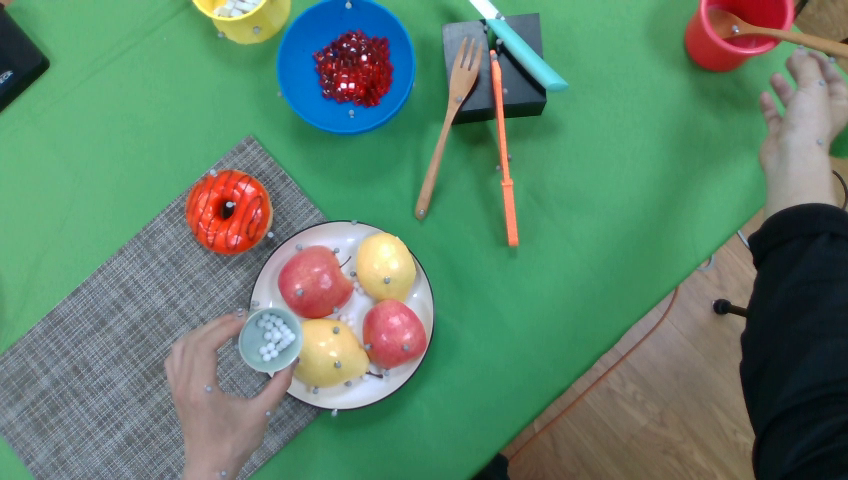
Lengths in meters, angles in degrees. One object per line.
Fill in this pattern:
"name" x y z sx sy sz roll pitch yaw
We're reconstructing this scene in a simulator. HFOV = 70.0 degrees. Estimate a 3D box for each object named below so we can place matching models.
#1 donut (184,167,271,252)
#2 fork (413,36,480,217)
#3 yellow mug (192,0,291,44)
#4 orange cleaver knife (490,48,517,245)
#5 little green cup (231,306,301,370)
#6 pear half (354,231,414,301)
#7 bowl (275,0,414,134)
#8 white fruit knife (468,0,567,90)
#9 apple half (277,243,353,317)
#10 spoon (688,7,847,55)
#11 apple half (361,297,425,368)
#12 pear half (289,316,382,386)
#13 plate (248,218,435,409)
"donut" -0.224 -0.035 0.693 0.099 0.048 0.099 0 88 5
"fork" 0.021 -0.120 0.670 0.028 0.018 0.208 17 107 -4
"yellow mug" -0.229 -0.294 0.707 0.130 0.064 0.100 15 87 5
"orange cleaver knife" 0.087 -0.101 0.668 0.012 0.077 0.212 -6 111 7
"little green cup" -0.155 0.093 0.583 0.062 0.038 0.061 -1 91 -34
"pear half" -0.048 0.035 0.667 0.070 0.031 0.088 -12 96 25
"bowl" -0.083 -0.186 0.685 0.151 0.077 0.151 0 86 2
"white fruit knife" 0.079 -0.239 0.664 0.027 0.016 0.207 -37 81 -30
"apple half" -0.124 0.045 0.667 0.074 0.053 0.080 -25 88 1
"spoon" 0.362 -0.216 0.633 0.041 0.022 0.191 -46 41 -3
"apple half" -0.042 0.103 0.659 0.081 0.033 0.081 3 99 22
"pear half" -0.097 0.128 0.663 0.110 0.056 0.076 21 91 0
"plate" -0.090 0.080 0.680 0.209 0.038 0.208 0 85 3
